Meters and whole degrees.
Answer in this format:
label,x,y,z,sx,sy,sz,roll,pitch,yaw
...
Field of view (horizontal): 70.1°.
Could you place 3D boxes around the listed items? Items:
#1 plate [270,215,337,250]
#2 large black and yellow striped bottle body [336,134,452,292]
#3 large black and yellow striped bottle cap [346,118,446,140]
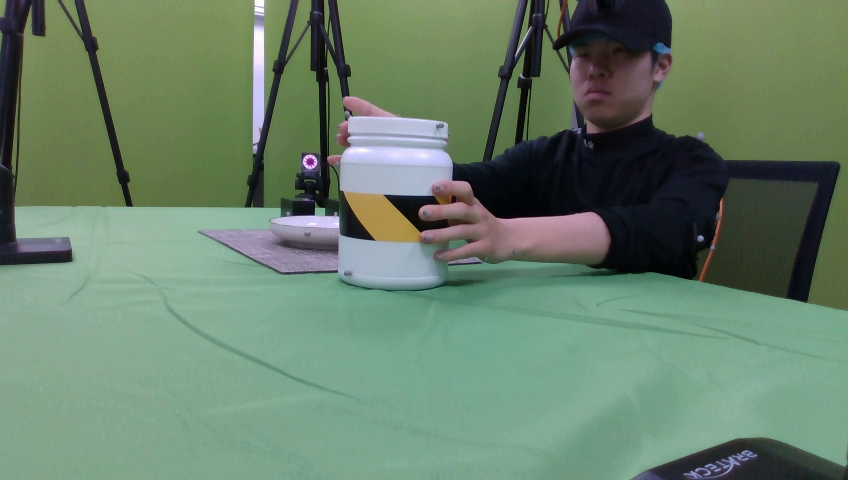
label,x,y,z,sx,sy,sz,roll,pitch,yaw
plate,-0.145,-0.013,0.991,0.208,0.039,0.207,3,7,0
large black and yellow striped bottle body,-0.035,-0.041,0.703,0.131,0.184,0.130,2,8,0
large black and yellow striped bottle cap,-0.031,-0.126,0.692,0.115,0.019,0.115,3,9,0
